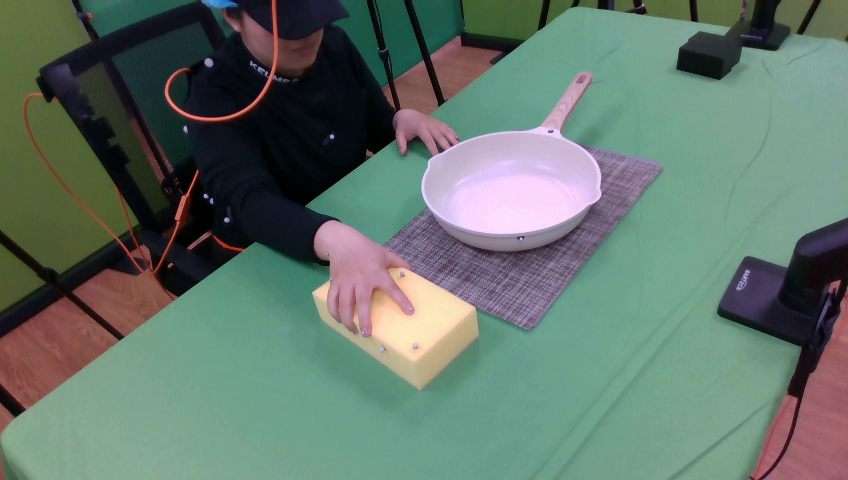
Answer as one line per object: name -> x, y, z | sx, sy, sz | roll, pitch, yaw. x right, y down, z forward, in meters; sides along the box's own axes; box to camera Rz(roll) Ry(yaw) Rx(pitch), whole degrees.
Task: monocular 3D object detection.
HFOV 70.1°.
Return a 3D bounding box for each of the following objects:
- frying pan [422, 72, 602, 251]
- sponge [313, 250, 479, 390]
frying pan -> 0.199, -0.155, 1.062 | 0.304, 0.103, 0.488 | 19, 56, 28
sponge -> -0.041, 0.104, 0.843 | 0.205, 0.061, 0.118 | 27, 52, 35
